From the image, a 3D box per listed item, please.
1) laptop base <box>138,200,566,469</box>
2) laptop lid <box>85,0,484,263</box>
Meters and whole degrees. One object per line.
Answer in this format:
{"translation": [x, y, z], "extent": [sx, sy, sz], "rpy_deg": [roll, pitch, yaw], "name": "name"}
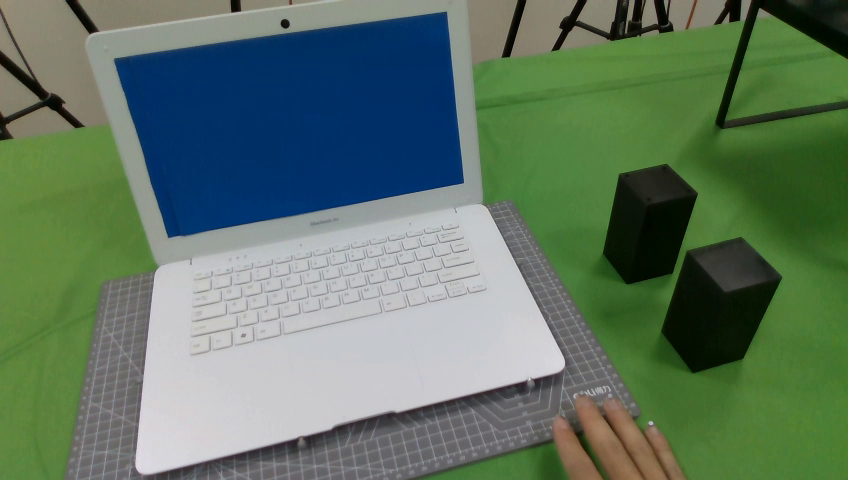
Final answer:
{"translation": [-0.074, 0.069, 0.571], "extent": [0.355, 0.023, 0.233], "rpy_deg": [-11, 45, -9], "name": "laptop base"}
{"translation": [-0.118, -0.112, 0.607], "extent": [0.357, 0.243, 0.013], "rpy_deg": [-13, 24, -9], "name": "laptop lid"}
